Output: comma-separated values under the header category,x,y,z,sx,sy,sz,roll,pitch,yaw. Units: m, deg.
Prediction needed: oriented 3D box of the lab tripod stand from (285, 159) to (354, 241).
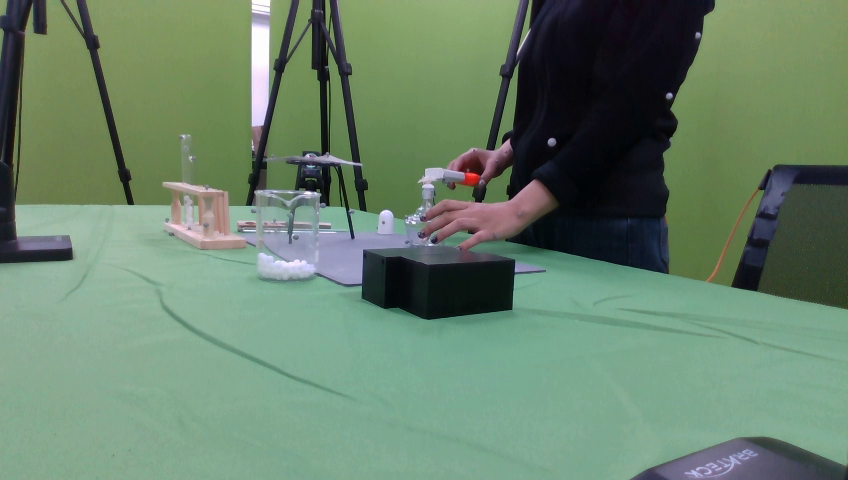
category,x,y,z,sx,sy,sz,roll,pitch,yaw
lab tripod stand,-0.187,-0.068,1.013,0.148,0.131,0.148,4,9,0

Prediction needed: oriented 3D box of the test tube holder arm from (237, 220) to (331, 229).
category,x,y,z,sx,sy,sz,roll,pitch,yaw
test tube holder arm,-0.260,-0.028,1.140,0.179,0.015,0.013,-1,42,-32

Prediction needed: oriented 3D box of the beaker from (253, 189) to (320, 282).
category,x,y,z,sx,sy,sz,roll,pitch,yaw
beaker,-0.156,-0.005,0.689,0.074,0.100,0.083,0,8,-14

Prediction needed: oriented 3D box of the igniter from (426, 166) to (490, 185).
category,x,y,z,sx,sy,sz,roll,pitch,yaw
igniter,0.068,-0.117,1.105,0.057,0.025,0.277,1,3,21

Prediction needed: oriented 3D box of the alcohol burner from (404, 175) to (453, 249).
category,x,y,z,sx,sy,sz,roll,pitch,yaw
alcohol burner,0.007,-0.045,0.971,0.078,0.119,0.078,1,9,0

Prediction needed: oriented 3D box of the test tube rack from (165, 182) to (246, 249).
category,x,y,z,sx,sy,sz,roll,pitch,yaw
test tube rack,-0.360,-0.045,0.982,0.067,0.085,0.241,-3,9,-34

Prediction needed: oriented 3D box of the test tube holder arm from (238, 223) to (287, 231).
category,x,y,z,sx,sy,sz,roll,pitch,yaw
test tube holder arm,-0.296,-0.024,1.113,0.088,0.015,0.010,-1,42,-32

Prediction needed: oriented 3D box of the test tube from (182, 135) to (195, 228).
category,x,y,z,sx,sy,sz,roll,pitch,yaw
test tube,-0.382,-0.095,0.983,0.017,0.150,0.017,-1,2,0

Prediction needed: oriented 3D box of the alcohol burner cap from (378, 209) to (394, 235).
category,x,y,z,sx,sy,sz,roll,pitch,yaw
alcohol burner cap,-0.072,-0.035,1.145,0.034,0.048,0.034,2,7,0

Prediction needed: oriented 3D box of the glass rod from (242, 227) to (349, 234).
category,x,y,z,sx,sy,sz,roll,pitch,yaw
glass rod,-0.232,-0.017,1.110,0.201,0.008,0.008,1,6,-29

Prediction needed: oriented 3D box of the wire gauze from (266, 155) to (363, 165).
category,x,y,z,sx,sy,sz,roll,pitch,yaw
wire gauze,-0.185,-0.136,1.016,0.126,0.011,0.121,-4,11,-33
